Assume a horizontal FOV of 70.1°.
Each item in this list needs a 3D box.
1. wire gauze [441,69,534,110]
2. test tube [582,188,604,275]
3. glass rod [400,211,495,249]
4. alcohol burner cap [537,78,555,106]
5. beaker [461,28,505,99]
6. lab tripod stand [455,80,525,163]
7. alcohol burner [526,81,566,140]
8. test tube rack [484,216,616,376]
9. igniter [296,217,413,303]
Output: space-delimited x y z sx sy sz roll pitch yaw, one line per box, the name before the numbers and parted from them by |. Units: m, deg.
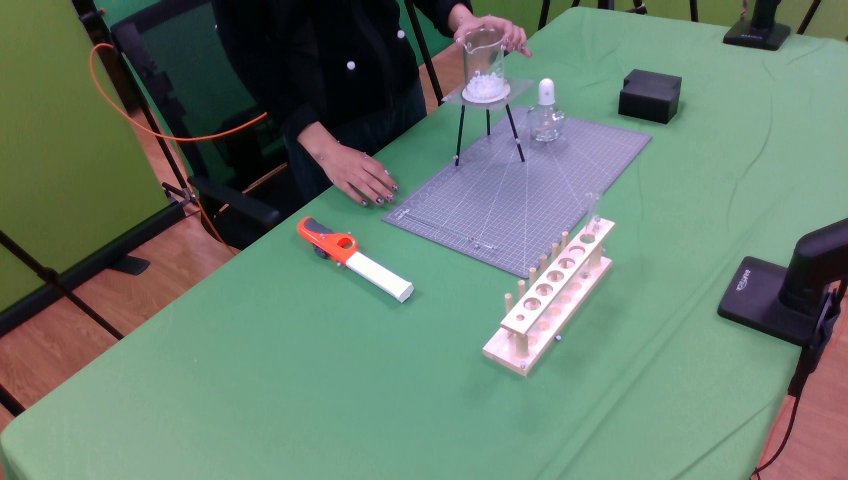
wire gauze | 0.114 -0.268 1.082 0.120 0.011 0.125 22 47 28
test tube | 0.228 -0.007 0.821 0.017 0.151 0.017 -3 42 3
glass rod | 0.035 -0.018 1.001 0.198 0.008 0.008 21 49 35
alcohol burner cap | 0.229 -0.279 1.136 0.034 0.048 0.033 -6 33 4
beaker | 0.103 -0.304 1.051 0.073 0.101 0.084 19 49 28
lab tripod stand | 0.120 -0.220 1.126 0.148 0.132 0.147 -4 40 4
alcohol burner | 0.234 -0.252 1.159 0.078 0.119 0.077 -4 42 4
test tube rack | 0.174 0.064 0.823 0.066 0.085 0.243 23 49 32
igniter | -0.121 0.025 0.970 0.274 0.025 0.057 30 63 37
